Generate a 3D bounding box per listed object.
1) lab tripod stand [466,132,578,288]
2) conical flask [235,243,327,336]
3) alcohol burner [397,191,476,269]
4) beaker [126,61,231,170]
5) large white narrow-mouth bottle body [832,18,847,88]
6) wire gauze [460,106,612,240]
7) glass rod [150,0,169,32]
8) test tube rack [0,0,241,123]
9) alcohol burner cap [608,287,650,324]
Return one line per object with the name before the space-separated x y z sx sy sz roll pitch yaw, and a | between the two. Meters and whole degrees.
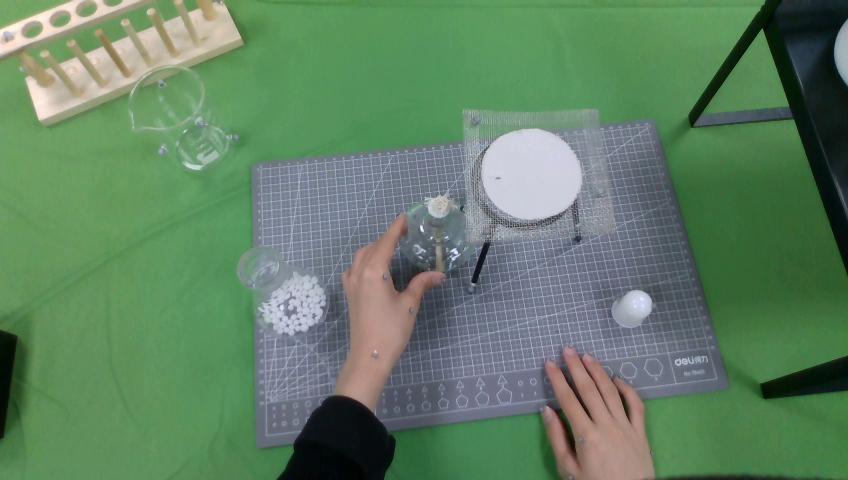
lab tripod stand | 0.086 -0.032 0.573 0.148 0.132 0.147 0 68 0
conical flask | -0.136 0.040 0.555 0.075 0.122 0.075 0 69 1
alcohol burner | 0.012 -0.015 0.579 0.078 0.120 0.077 0 68 -1
beaker | -0.252 -0.122 0.631 0.073 0.101 0.084 39 75 14
large white narrow-mouth bottle body | 0.376 -0.178 0.404 0.102 0.196 0.101 0 68 0
wire gauze | 0.092 -0.061 0.511 0.121 0.011 0.124 -1 70 -1
glass rod | -0.298 -0.287 0.628 0.008 0.201 0.008 2 67 -3
test tube rack | -0.340 -0.226 0.677 0.242 0.086 0.066 -26 72 -9
alcohol burner cap | 0.201 0.061 0.587 0.034 0.048 0.033 0 70 1
